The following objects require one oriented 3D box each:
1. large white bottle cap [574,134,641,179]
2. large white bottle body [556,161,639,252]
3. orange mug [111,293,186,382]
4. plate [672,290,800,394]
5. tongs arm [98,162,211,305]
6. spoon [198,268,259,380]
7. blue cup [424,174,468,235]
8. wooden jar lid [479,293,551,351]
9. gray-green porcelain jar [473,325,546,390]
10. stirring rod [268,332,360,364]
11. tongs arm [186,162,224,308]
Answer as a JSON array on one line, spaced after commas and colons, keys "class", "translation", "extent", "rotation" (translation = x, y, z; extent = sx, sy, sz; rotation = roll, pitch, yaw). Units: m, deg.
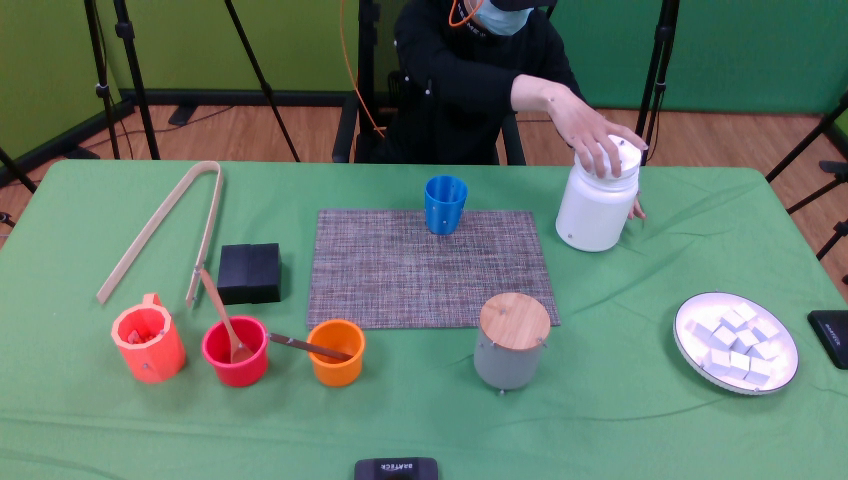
[{"class": "large white bottle cap", "translation": [0.329, -0.151, 1.089], "extent": [0.115, 0.018, 0.114], "rotation": [-4, 44, 4]}, {"class": "large white bottle body", "translation": [0.340, -0.082, 1.186], "extent": [0.131, 0.185, 0.130], "rotation": [2, 46, -2]}, {"class": "orange mug", "translation": [-0.435, 0.149, 0.969], "extent": [0.083, 0.101, 0.125], "rotation": [-5, 51, -8]}, {"class": "plate", "translation": [0.533, 0.178, 1.050], "extent": [0.208, 0.039, 0.206], "rotation": [2, 46, -2]}, {"class": "tongs arm", "translation": [-0.519, -0.027, 1.184], "extent": [0.028, 0.028, 0.385], "rotation": [4, 45, 13]}, {"class": "spoon", "translation": [-0.313, 0.132, 0.962], "extent": [0.041, 0.021, 0.194], "rotation": [-24, 96, -22]}, {"class": "blue cup", "translation": [0.039, -0.065, 1.201], "extent": [0.093, 0.101, 0.092], "rotation": [3, 47, -3]}, {"class": "wooden jar lid", "translation": [0.137, 0.127, 0.925], "extent": [0.108, 0.021, 0.107], "rotation": [1, 47, -1]}, {"class": "gray-green porcelain jar", "translation": [0.135, 0.170, 0.969], "extent": [0.106, 0.127, 0.105], "rotation": [2, 46, -2]}, {"class": "stirring rod", "translation": [-0.167, 0.169, 0.941], "extent": [0.177, 0.006, 0.014], "rotation": [26, 26, -41]}, {"class": "tongs arm", "translation": [-0.435, -0.025, 1.181], "extent": [0.051, 0.027, 0.382], "rotation": [-3, 45, 1]}]
